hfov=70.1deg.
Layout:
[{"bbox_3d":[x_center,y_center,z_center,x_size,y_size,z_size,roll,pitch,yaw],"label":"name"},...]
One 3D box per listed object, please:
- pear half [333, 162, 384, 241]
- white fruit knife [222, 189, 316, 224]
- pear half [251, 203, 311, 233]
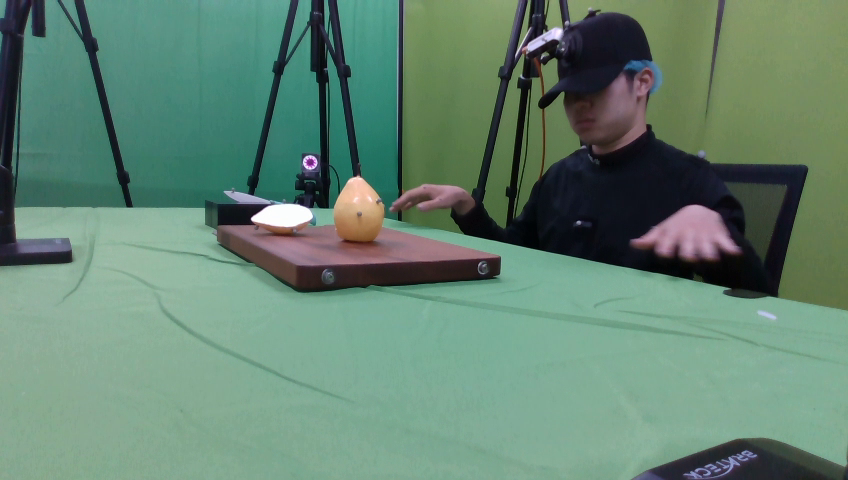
[{"bbox_3d":[-0.085,-0.053,0.842,0.056,0.110,0.076,6,12,28],"label":"pear half"},{"bbox_3d":[-0.311,-0.071,1.236,0.208,0.027,0.016,16,6,-37],"label":"white fruit knife"},{"bbox_3d":[-0.212,-0.027,0.900,0.088,0.031,0.070,-16,31,-25],"label":"pear half"}]
